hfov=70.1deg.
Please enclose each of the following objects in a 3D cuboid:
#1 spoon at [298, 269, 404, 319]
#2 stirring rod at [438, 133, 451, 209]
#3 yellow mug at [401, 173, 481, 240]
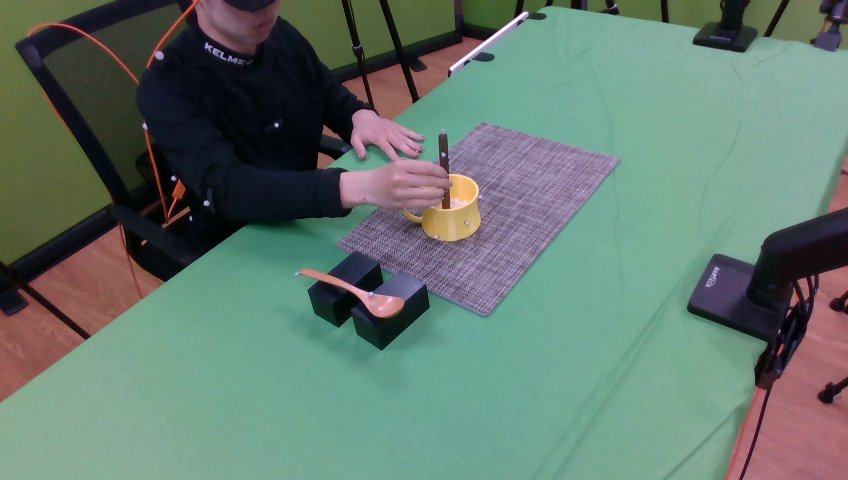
[{"bbox_3d":[-0.106,0.068,0.831,0.192,0.022,0.042,21,48,32],"label":"spoon"},{"bbox_3d":[0.033,-0.087,0.930,0.014,0.177,0.005,-18,41,-16],"label":"stirring rod"},{"bbox_3d":[0.026,-0.054,0.989,0.130,0.064,0.099,-1,41,8],"label":"yellow mug"}]
